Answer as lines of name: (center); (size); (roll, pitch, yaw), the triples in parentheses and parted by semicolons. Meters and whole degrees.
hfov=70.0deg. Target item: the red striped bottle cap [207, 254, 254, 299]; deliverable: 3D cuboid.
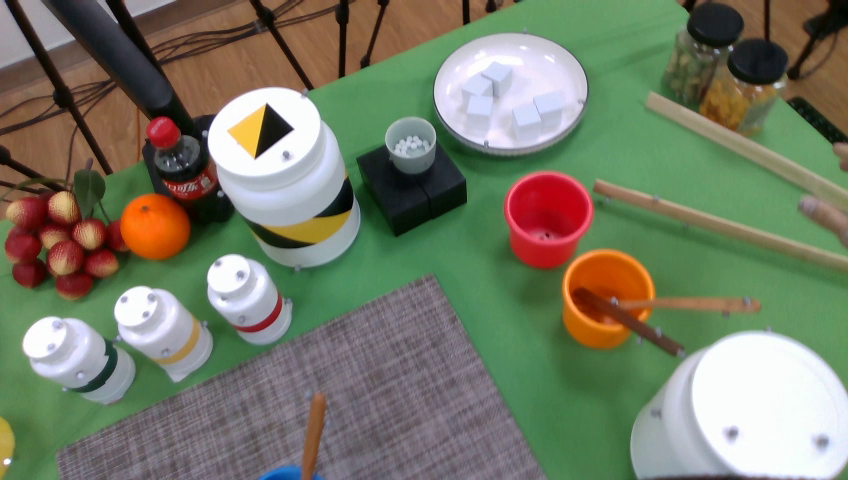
red striped bottle cap: (-0.196, 0.036, 0.611); (0.044, 0.018, 0.044); (-1, 57, 1)

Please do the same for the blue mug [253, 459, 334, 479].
blue mug: (-0.117, 0.264, 0.541); (0.082, 0.107, 0.116); (20, 64, 16)

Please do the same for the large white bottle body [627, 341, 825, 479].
large white bottle body: (0.260, 0.163, 0.523); (0.130, 0.186, 0.129); (-2, 60, 4)

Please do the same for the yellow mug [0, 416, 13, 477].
yellow mug: (-0.491, 0.231, 0.617); (0.100, 0.064, 0.129); (-16, 61, -5)

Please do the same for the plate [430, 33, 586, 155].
plate: (0.112, -0.195, 0.824); (0.209, 0.038, 0.207); (-2, 61, 4)

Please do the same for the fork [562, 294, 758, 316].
fork: (0.224, 0.062, 0.604); (0.206, 0.019, 0.028); (-10, 39, 52)

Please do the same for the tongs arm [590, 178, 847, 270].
tongs arm: (0.387, -0.019, 0.702); (0.383, 0.027, 0.050); (21, 60, 15)

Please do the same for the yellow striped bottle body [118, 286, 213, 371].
yellow striped bottle body: (-0.278, 0.092, 0.647); (0.063, 0.121, 0.062); (-2, 60, 5)

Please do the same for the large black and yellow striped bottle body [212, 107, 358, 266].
large black and yellow striped bottle body: (-0.154, -0.065, 0.689); (0.131, 0.185, 0.129); (-2, 60, 4)

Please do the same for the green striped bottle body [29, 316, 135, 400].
green striped bottle body: (-0.362, 0.122, 0.637); (0.063, 0.120, 0.062); (-2, 60, 3)

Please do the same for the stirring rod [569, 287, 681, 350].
stirring rod: (0.195, 0.075, 0.608); (0.014, 0.006, 0.175); (-22, 18, -11)

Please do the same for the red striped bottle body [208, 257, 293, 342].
red striped bottle body: (-0.190, 0.062, 0.657); (0.063, 0.121, 0.062); (-3, 60, 6)

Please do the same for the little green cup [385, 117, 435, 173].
little green cup: (-0.016, -0.112, 0.729); (0.061, 0.039, 0.061); (-1, 57, 3)

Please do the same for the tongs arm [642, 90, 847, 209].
tongs arm: (0.436, -0.085, 0.739); (0.384, 0.028, 0.028); (37, 62, 22)

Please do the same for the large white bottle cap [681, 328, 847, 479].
large white bottle cap: (0.252, 0.120, 0.450); (0.115, 0.018, 0.114); (-2, 60, 4)

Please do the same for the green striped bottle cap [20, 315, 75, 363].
green striped bottle cap: (-0.368, 0.097, 0.592); (0.044, 0.020, 0.044); (-1, 60, 2)

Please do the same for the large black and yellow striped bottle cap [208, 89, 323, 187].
large black and yellow striped bottle cap: (-0.161, -0.106, 0.615); (0.115, 0.019, 0.114); (-3, 60, 5)

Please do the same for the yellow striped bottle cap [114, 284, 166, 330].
yellow striped bottle cap: (-0.282, 0.066, 0.602); (0.044, 0.019, 0.044); (-1, 62, 3)

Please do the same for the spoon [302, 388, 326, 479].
spoon: (-0.098, 0.206, 0.521); (0.041, 0.195, 0.021); (19, 29, 16)
